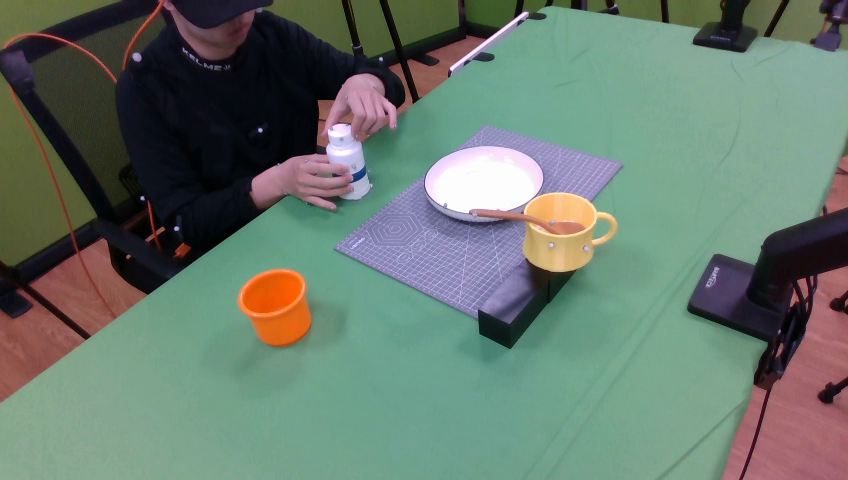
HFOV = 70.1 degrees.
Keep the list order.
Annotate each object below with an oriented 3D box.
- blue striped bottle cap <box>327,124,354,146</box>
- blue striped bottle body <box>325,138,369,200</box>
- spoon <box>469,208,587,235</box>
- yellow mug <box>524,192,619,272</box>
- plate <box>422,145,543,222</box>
[{"bbox_3d":[-0.143,-0.180,1.033,0.044,0.021,0.044,-7,39,7],"label":"blue striped bottle cap"},{"bbox_3d":[-0.138,-0.135,1.071,0.063,0.121,0.063,-4,41,4],"label":"blue striped bottle body"},{"bbox_3d":[0.143,-0.026,0.817,0.195,0.021,0.041,12,34,-29],"label":"spoon"},{"bbox_3d":[0.206,-0.013,0.845,0.131,0.064,0.099,-4,40,2],"label":"yellow mug"},{"bbox_3d":[0.101,-0.094,1.048,0.207,0.039,0.206,-4,41,4],"label":"plate"}]
